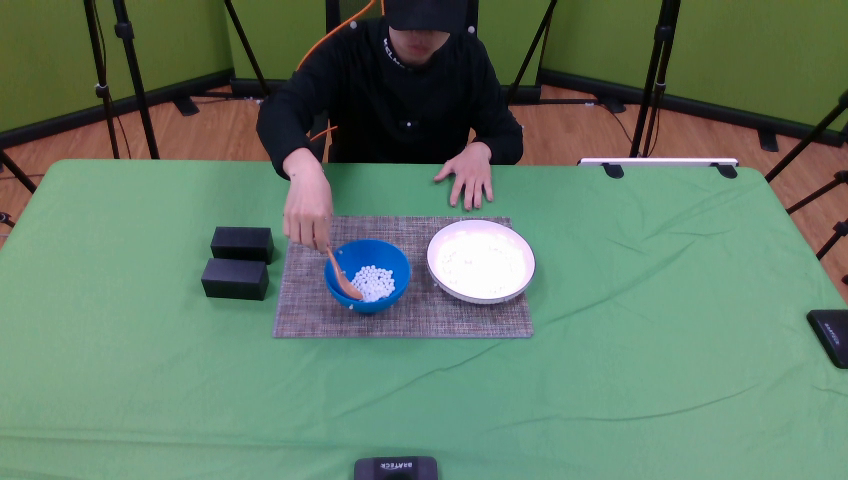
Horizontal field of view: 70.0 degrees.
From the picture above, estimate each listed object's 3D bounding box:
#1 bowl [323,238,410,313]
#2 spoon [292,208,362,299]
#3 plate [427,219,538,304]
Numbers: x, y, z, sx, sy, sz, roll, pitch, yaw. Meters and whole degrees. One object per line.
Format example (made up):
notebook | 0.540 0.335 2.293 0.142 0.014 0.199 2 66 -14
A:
bowl | -0.101 0.077 1.073 0.151 0.077 0.150 2 46 -2
spoon | -0.167 0.024 1.038 0.193 0.021 0.041 58 17 0
plate | 0.109 0.044 1.149 0.208 0.039 0.206 2 46 -2
